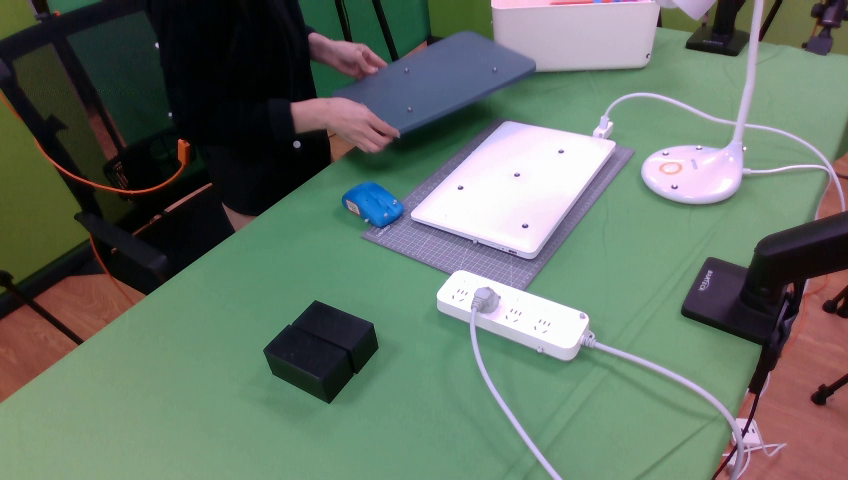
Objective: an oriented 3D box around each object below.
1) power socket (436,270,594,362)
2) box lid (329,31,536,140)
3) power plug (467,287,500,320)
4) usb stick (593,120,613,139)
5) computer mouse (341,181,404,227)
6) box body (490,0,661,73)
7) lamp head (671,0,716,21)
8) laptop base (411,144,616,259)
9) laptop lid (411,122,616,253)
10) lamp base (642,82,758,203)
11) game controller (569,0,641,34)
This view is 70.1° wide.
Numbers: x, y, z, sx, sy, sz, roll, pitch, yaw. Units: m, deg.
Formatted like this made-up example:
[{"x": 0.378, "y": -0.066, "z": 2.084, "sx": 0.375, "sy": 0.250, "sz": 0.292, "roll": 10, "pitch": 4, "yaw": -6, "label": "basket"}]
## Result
[{"x": 0.118, "y": 0.101, "z": 0.832, "sx": 0.225, "sy": 0.033, "sz": 0.072, "roll": 19, "pitch": 48, "yaw": 27, "label": "power socket"}, {"x": 0.016, "y": -0.325, "z": 1.227, "sx": 0.373, "sy": 0.015, "sz": 0.261, "roll": -29, "pitch": 44, "yaw": -18, "label": "box lid"}, {"x": 0.073, "y": 0.092, "z": 0.814, "sx": 0.035, "sy": 0.053, "sz": 0.073, "roll": 29, "pitch": 54, "yaw": 34, "label": "power plug"}, {"x": 0.336, "y": -0.201, "z": 1.147, "sx": 0.021, "sy": 0.027, "sz": 0.059, "roll": 26, "pitch": 53, "yaw": 27, "label": "usb stick"}, {"x": -0.091, "y": -0.066, "z": 1.052, "sx": 0.063, "sy": 0.041, "sz": 0.116, "roll": -33, "pitch": 48, "yaw": -28, "label": "computer mouse"}, {"x": 0.346, "y": -0.520, "z": 1.429, "sx": 0.363, "sy": 0.161, "sz": 0.253, "roll": 0, "pitch": 41, "yaw": 9, "label": "box body"}, {"x": 0.375, "y": -0.373, "z": 0.807, "sx": 0.122, "sy": 0.113, "sz": 0.112, "roll": -40, "pitch": 27, "yaw": 32, "label": "lamp head"}, {"x": 0.168, "y": -0.102, "z": 1.073, "sx": 0.234, "sy": 0.023, "sz": 0.355, "roll": 17, "pitch": 46, "yaw": 31, "label": "laptop base"}, {"x": 0.165, "y": -0.111, "z": 1.067, "sx": 0.240, "sy": 0.013, "sz": 0.357, "roll": 19, "pitch": 46, "yaw": 31, "label": "laptop lid"}, {"x": 0.464, "y": -0.174, "z": 0.992, "sx": 0.179, "sy": 0.181, "sz": 0.159, "roll": -5, "pitch": 41, "yaw": -1, "label": "lamp base"}, {"x": 0.421, "y": -0.522, "z": 1.395, "sx": 0.155, "sy": 0.052, "sz": 0.096, "roll": -9, "pitch": 44, "yaw": -3, "label": "game controller"}]
